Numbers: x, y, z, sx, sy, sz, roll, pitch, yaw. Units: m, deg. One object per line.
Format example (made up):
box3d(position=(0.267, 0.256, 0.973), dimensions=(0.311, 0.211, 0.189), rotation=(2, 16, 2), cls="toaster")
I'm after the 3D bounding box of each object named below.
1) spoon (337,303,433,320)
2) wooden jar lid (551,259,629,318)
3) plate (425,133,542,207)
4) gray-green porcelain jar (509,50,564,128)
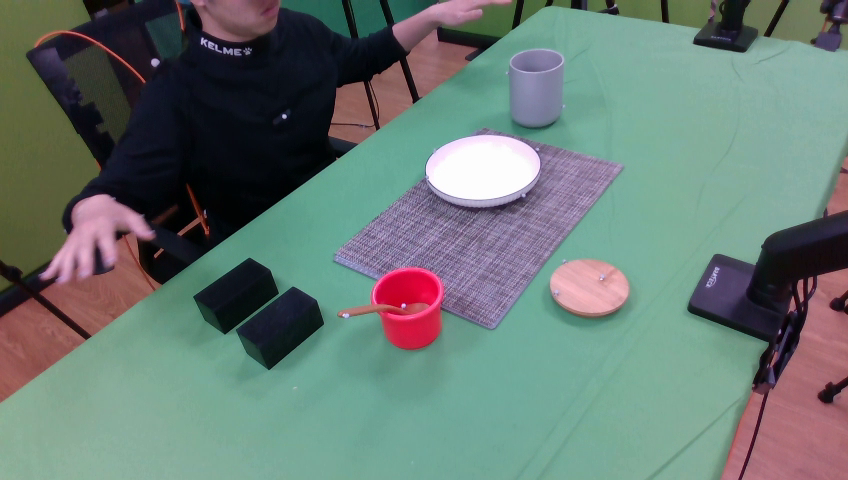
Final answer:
box3d(position=(-0.048, 0.091, 0.777), dimensions=(0.041, 0.021, 0.195), rotation=(23, 5, 32), cls="spoon")
box3d(position=(0.234, 0.070, 0.857), dimensions=(0.108, 0.021, 0.108), rotation=(-5, 40, 4), cls="wooden jar lid")
box3d(position=(0.106, -0.122, 1.079), dimensions=(0.207, 0.039, 0.206), rotation=(-4, 41, 4), cls="plate")
box3d(position=(0.222, -0.297, 1.204), dimensions=(0.106, 0.127, 0.105), rotation=(-4, 41, 4), cls="gray-green porcelain jar")
